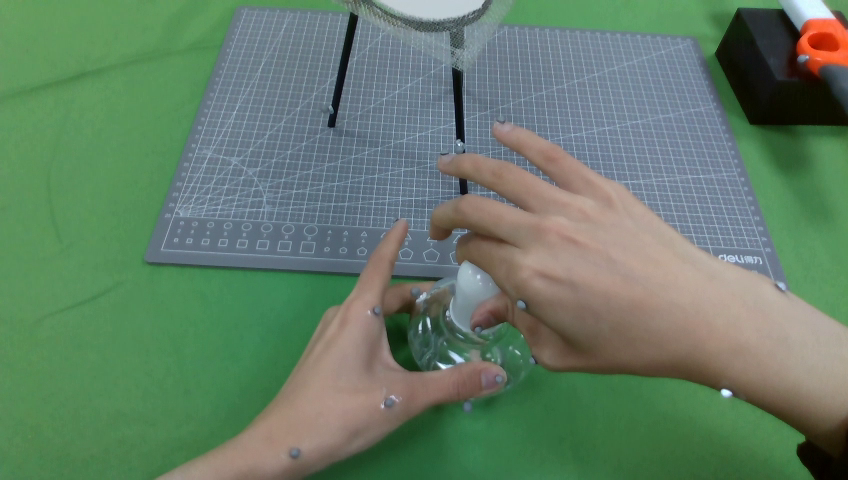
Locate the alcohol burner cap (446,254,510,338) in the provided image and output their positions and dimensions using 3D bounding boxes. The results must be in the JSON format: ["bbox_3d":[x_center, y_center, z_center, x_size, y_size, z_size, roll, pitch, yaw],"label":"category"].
[{"bbox_3d":[0.029,0.026,0.315,0.034,0.048,0.033,1,53,-1],"label":"alcohol burner cap"}]

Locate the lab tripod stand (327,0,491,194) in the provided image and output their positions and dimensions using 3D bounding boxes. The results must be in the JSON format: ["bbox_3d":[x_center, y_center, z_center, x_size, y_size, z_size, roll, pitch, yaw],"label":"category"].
[{"bbox_3d":[-0.001,-0.125,0.446,0.148,0.132,0.147,3,54,-4],"label":"lab tripod stand"}]

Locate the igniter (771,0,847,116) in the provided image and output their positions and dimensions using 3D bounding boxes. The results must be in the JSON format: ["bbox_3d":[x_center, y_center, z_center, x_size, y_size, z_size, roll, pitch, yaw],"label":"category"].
[{"bbox_3d":[0.336,-0.175,0.517,0.057,0.025,0.273,-1,52,-1],"label":"igniter"}]

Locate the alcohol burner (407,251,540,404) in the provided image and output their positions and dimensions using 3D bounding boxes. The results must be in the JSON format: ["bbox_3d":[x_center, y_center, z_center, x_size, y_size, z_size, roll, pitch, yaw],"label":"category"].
[{"bbox_3d":[0.029,0.046,0.341,0.078,0.120,0.077,1,55,-1],"label":"alcohol burner"}]

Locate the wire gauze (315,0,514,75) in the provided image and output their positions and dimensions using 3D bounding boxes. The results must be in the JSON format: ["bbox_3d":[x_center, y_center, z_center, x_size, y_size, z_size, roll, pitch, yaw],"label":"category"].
[{"bbox_3d":[-0.001,-0.165,0.392,0.124,0.011,0.121,26,57,13],"label":"wire gauze"}]
